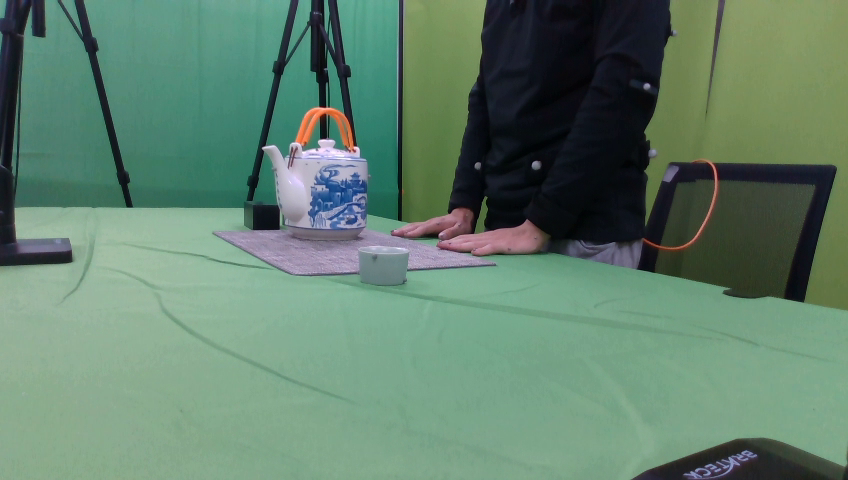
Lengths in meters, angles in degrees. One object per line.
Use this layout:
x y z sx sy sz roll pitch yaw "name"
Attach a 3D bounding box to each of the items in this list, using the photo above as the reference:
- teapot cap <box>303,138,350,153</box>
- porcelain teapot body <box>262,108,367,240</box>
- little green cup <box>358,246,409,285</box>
-0.172 -0.156 1.060 0.085 0.044 0.085 -1 7 0 "teapot cap"
-0.191 -0.115 1.041 0.144 0.225 0.206 8 10 36 "porcelain teapot body"
-0.048 0.030 0.707 0.061 0.038 0.061 2 8 0 "little green cup"
